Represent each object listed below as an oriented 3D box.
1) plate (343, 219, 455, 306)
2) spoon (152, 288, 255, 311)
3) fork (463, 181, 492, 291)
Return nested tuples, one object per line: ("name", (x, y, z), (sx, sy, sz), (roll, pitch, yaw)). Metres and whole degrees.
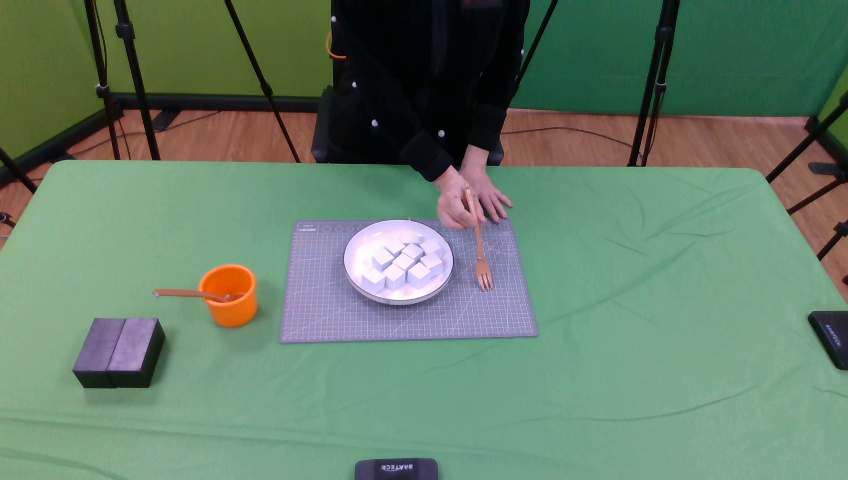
("plate", (-0.047, 0.045, 1.136), (0.208, 0.039, 0.206), (2, 46, -2))
("spoon", (-0.356, 0.092, 0.992), (0.021, 0.195, 0.041), (-47, 59, 13))
("fork", (0.097, -0.007, 1.122), (0.028, 0.207, 0.018), (-13, 7, -17))
